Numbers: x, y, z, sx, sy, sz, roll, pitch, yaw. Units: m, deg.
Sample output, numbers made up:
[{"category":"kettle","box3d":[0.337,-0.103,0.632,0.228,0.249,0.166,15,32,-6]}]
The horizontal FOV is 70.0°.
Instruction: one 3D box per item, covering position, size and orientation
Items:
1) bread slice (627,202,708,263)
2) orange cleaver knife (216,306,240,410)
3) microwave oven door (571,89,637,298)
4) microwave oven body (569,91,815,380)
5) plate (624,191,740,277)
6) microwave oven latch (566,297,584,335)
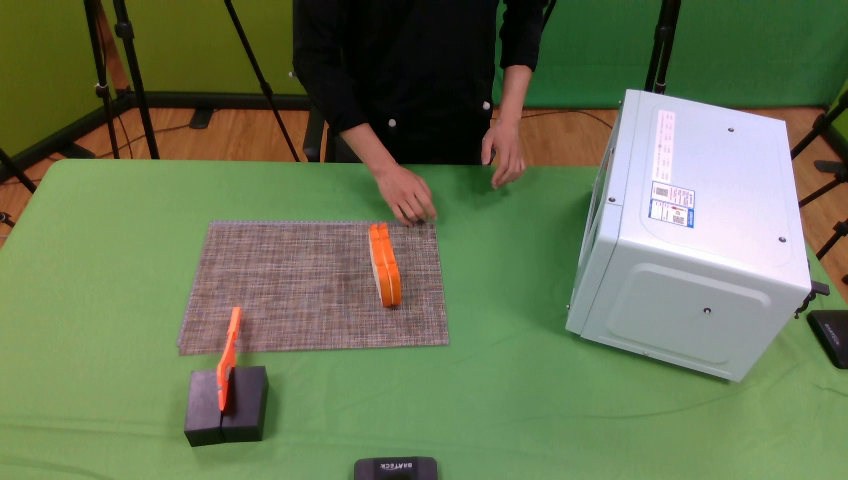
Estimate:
[{"category":"bread slice","box3d":[0.474,-0.021,1.168,0.134,0.018,0.106,-30,56,-16]},{"category":"orange cleaver knife","box3d":[-0.307,0.180,0.957,0.012,0.077,0.210,-2,25,-8]},{"category":"microwave oven door","box3d":[0.343,-0.091,1.133,0.039,0.245,0.354,15,47,10]},{"category":"microwave oven body","box3d":[0.468,-0.022,1.082,0.325,0.261,0.440,15,46,11]},{"category":"plate","box3d":[0.482,-0.007,1.147,0.208,0.039,0.206,0,49,0]},{"category":"microwave oven latch","box3d":[0.268,0.126,1.059,0.030,0.029,0.079,16,46,12]}]
